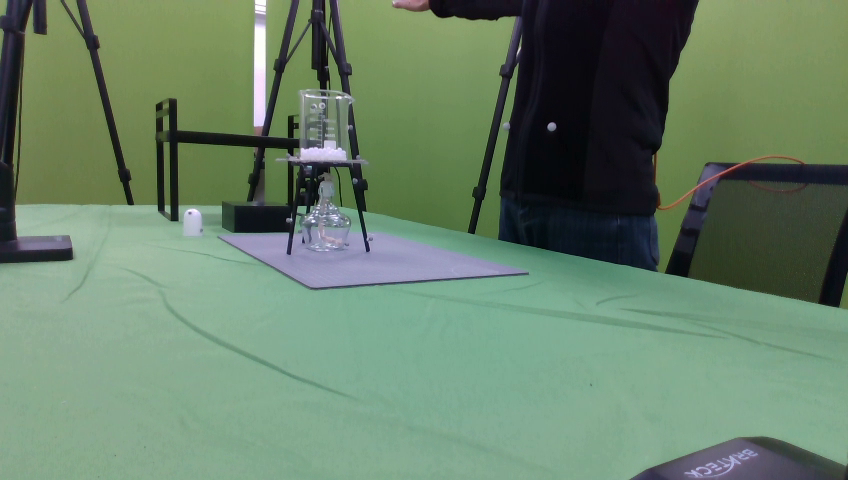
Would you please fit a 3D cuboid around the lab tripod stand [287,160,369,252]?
[{"bbox_3d":[-0.157,-0.053,0.902,0.148,0.131,0.148,0,7,0],"label":"lab tripod stand"}]

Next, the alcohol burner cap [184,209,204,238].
[{"bbox_3d":[-0.390,-0.029,1.025,0.034,0.048,0.034,2,8,0],"label":"alcohol burner cap"}]

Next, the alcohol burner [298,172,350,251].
[{"bbox_3d":[-0.149,-0.043,0.911,0.078,0.119,0.078,3,5,0],"label":"alcohol burner"}]

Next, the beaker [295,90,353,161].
[{"bbox_3d":[-0.146,-0.164,0.884,0.084,0.100,0.074,1,7,-6],"label":"beaker"}]

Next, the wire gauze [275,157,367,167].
[{"bbox_3d":[-0.148,-0.117,0.895,0.121,0.011,0.125,3,5,-3],"label":"wire gauze"}]
